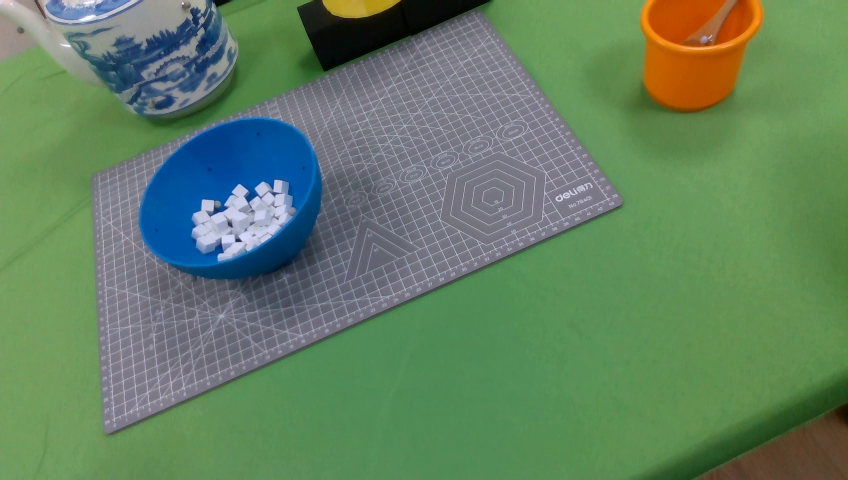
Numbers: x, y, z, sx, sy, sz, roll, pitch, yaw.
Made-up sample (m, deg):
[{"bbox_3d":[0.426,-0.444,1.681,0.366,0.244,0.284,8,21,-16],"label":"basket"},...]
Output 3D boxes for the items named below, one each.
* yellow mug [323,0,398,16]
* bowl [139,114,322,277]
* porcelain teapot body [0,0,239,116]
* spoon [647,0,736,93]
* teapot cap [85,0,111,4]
[{"bbox_3d":[-0.053,-0.281,0.603,0.130,0.064,0.099,17,64,23],"label":"yellow mug"},{"bbox_3d":[-0.149,-0.025,0.513,0.151,0.077,0.150,-7,56,10],"label":"bowl"},{"bbox_3d":[-0.324,-0.233,0.606,0.205,0.227,0.143,-19,56,3],"label":"porcelain teapot body"},{"bbox_3d":[0.253,-0.199,0.483,0.022,0.194,0.041,2,46,-40],"label":"spoon"},{"bbox_3d":[-0.305,-0.261,0.572,0.085,0.044,0.084,-8,58,13],"label":"teapot cap"}]
